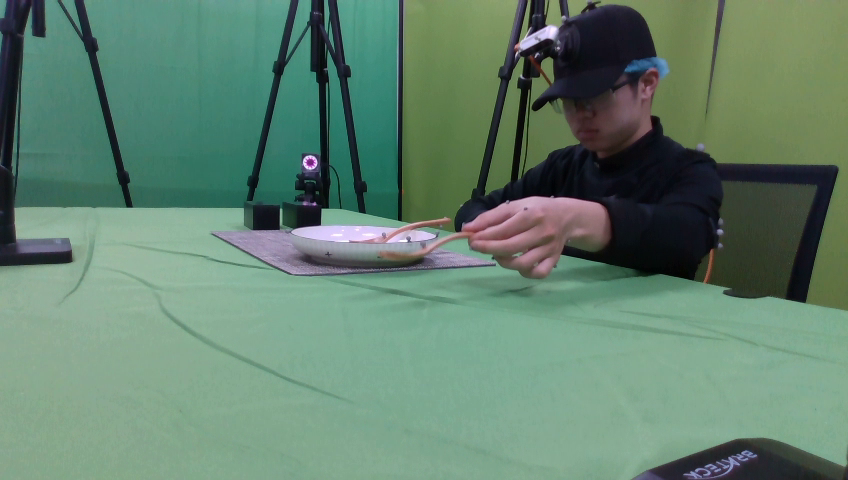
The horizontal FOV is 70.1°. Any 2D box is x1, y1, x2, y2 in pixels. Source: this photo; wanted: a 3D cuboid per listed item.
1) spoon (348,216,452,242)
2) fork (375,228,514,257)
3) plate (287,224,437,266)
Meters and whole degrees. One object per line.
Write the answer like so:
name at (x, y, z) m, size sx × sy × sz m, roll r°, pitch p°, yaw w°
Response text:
spoon at (-0.030, -0.015, 0.923) m, size 0.195 × 0.021 × 0.041 m, roll -19°, pitch 15°, yaw -36°
fork at (0.032, 0.000, 0.671) m, size 0.208 × 0.018 × 0.028 m, roll -13°, pitch 7°, yaw -42°
plate at (-0.086, 0.007, 0.852) m, size 0.208 × 0.039 × 0.207 m, roll 2°, pitch 7°, yaw 0°
